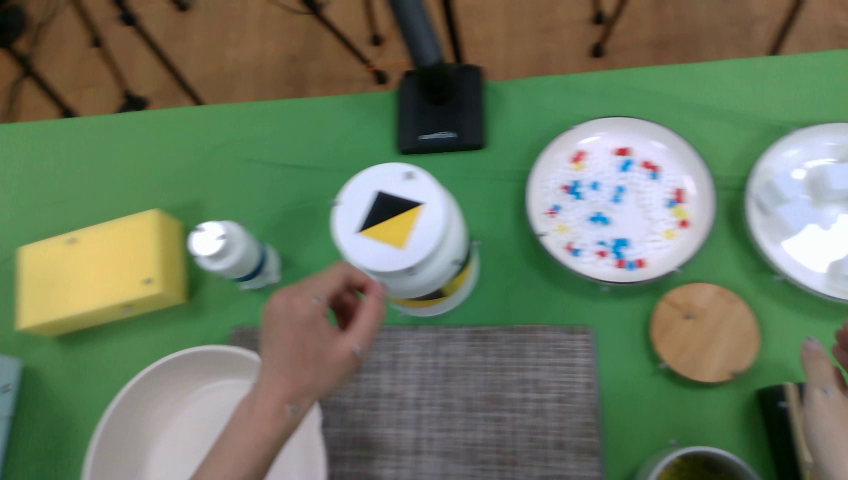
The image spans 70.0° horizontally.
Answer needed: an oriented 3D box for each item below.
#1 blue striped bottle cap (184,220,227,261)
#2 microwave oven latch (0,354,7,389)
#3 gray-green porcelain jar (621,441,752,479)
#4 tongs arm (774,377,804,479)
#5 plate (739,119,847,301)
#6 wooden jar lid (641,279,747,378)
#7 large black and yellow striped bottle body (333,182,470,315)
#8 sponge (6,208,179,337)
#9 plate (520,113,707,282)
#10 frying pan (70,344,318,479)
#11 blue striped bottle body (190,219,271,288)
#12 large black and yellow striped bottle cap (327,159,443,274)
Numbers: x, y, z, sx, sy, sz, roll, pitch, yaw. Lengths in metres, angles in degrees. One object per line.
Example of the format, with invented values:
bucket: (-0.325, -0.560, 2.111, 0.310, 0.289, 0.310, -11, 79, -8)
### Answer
blue striped bottle cap: (-0.251, 0.000, 0.693, 0.044, 0.021, 0.044, -4, 69, 12)
microwave oven latch: (-0.563, 0.184, 0.777, 0.030, 0.030, 0.078, 0, 74, 11)
gray-green porcelain jar: (0.243, 0.244, 0.571, 0.105, 0.127, 0.105, -3, 72, 10)
tongs arm: (0.374, 0.316, 0.541, 0.051, 0.026, 0.383, -6, 82, 7)
plate: (0.454, -0.032, 0.662, 0.207, 0.039, 0.206, -3, 72, 11)
wooden jar lid: (0.294, 0.097, 0.664, 0.108, 0.021, 0.108, -3, 74, 11)
large black and yellow striped bottle body: (-0.023, 0.003, 0.669, 0.130, 0.185, 0.130, -3, 72, 10)
sponge: (-0.437, 0.045, 0.803, 0.207, 0.061, 0.117, -15, 71, 6)
plate: (0.219, -0.049, 0.714, 0.209, 0.038, 0.208, -3, 73, 11)
frying pan: (-0.205, 0.346, 0.638, 0.307, 0.104, 0.483, -31, 61, 2)
blue striped bottle body: (-0.241, 0.015, 0.741, 0.063, 0.122, 0.062, -3, 72, 10)
large black and yellow striped bottle cap: (-0.039, -0.024, 0.590, 0.115, 0.019, 0.114, -3, 74, 10)
